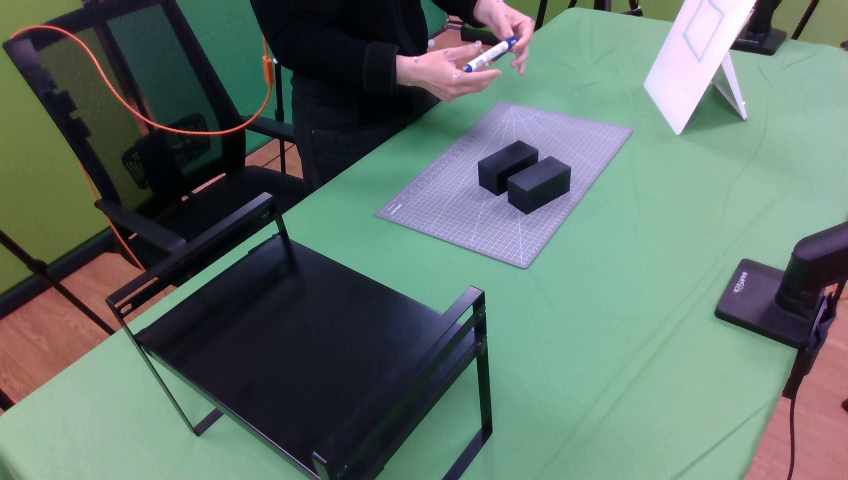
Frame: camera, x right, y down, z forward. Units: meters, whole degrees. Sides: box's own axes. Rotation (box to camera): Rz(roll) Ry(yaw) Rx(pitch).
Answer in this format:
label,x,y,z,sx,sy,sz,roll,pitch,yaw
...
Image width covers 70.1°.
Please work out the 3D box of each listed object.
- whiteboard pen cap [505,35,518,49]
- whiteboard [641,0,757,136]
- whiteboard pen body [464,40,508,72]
label,x,y,z,sx,sy,sz,roll,pitch,yaw
whiteboard pen cap,0.152,-0.351,1.074,0.018,0.018,0.033,25,49,32
whiteboard,0.575,-0.366,1.147,0.144,0.305,0.216,10,39,-9
whiteboard pen body,0.114,-0.321,1.040,0.017,0.017,0.141,25,48,32
